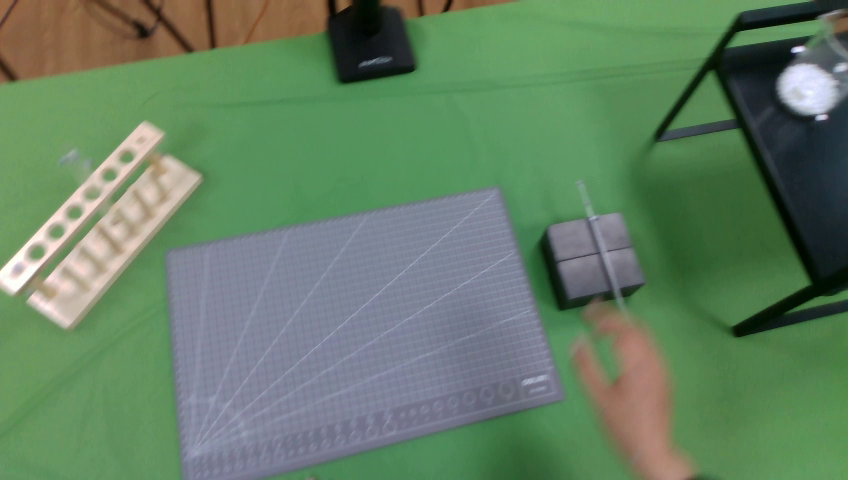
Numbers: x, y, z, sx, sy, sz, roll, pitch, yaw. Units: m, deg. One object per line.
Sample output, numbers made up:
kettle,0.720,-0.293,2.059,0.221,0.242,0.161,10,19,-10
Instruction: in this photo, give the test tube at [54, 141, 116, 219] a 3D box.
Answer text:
test tube,-0.393,-0.065,0.708,0.017,0.151,0.017,3,62,-5

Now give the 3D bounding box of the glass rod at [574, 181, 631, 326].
glass rod,0.222,0.013,0.758,0.008,0.008,0.198,-12,69,-8

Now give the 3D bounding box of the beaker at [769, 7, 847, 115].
beaker,0.437,-0.194,0.667,0.083,0.101,0.074,38,70,12

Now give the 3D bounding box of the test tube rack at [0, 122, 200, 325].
test tube rack,-0.392,-0.022,0.744,0.066,0.086,0.241,30,69,9
